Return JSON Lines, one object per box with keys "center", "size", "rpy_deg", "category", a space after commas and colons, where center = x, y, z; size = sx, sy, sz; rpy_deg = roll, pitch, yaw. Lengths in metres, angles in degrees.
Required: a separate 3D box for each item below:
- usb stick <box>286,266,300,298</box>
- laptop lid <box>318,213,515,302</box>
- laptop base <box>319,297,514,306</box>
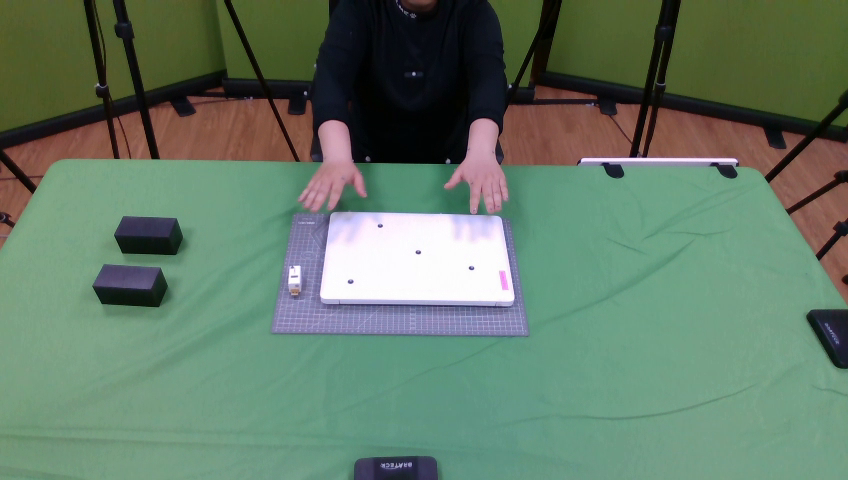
{"center": [-0.237, 0.077, 1.097], "size": [0.021, 0.027, 0.059], "rpy_deg": [-2, 49, -6], "category": "usb stick"}
{"center": [-0.014, 0.027, 1.156], "size": [0.357, 0.013, 0.240], "rpy_deg": [2, 43, -2], "category": "laptop lid"}
{"center": [-0.014, 0.037, 1.162], "size": [0.354, 0.023, 0.234], "rpy_deg": [1, 42, -3], "category": "laptop base"}
